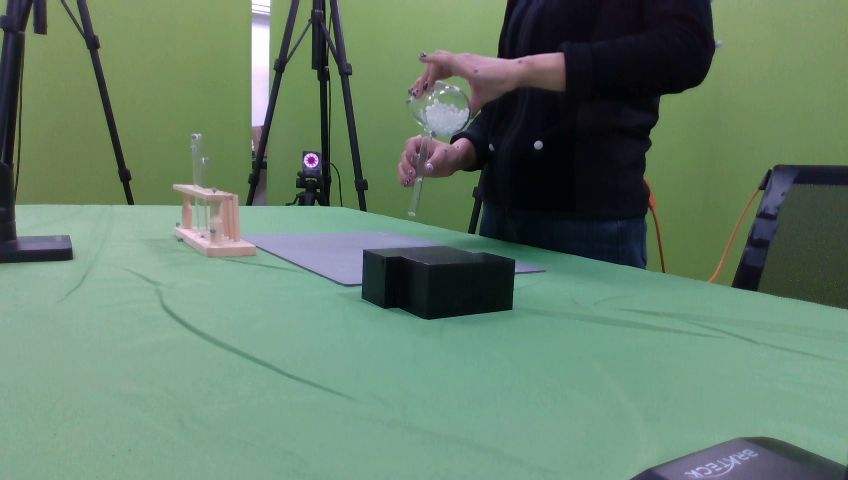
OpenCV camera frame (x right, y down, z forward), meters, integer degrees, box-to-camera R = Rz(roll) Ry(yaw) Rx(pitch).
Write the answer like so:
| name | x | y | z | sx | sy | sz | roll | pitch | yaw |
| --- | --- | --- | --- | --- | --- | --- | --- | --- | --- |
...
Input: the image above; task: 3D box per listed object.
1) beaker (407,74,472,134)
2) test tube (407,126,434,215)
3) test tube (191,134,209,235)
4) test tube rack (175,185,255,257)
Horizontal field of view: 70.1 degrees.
| name | x | y | z | sx | sy | sz | roll | pitch | yaw |
| --- | --- | --- | --- | --- | --- | --- | --- | --- | --- |
| beaker | 0.023 | -0.196 | 0.890 | 0.074 | 0.084 | 0.100 | -5 | 22 | -15 |
| test tube | -0.007 | -0.110 | 0.973 | 0.017 | 0.150 | 0.017 | 11 | 22 | -4 |
| test tube | -0.332 | -0.082 | 0.898 | 0.017 | 0.150 | 0.017 | -2 | 6 | 0 |
| test tube rack | -0.324 | -0.035 | 0.922 | 0.067 | 0.085 | 0.241 | -2 | 9 | -31 |
